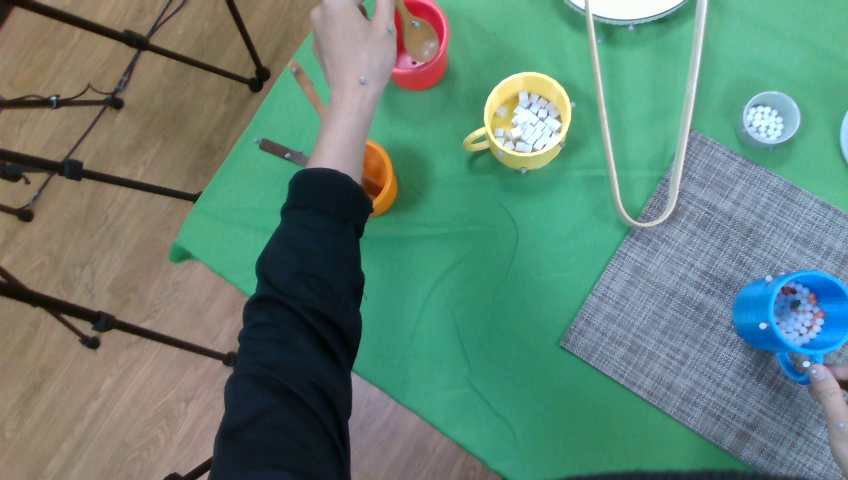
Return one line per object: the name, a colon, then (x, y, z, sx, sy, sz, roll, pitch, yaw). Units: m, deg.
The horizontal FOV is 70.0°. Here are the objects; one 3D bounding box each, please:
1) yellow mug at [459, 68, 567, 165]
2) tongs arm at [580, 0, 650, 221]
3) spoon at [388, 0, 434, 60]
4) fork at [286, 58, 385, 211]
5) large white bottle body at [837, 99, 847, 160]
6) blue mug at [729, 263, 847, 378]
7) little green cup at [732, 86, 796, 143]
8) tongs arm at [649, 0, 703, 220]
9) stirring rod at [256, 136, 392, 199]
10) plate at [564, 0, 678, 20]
yellow mug: (0.104, -0.140, 0.724, 0.131, 0.064, 0.099, -20, 81, 6)
tongs arm: (0.217, -0.211, 0.712, 0.051, 0.026, 0.384, -6, 90, 3)
spoon: (-0.032, -0.243, 0.614, 0.021, 0.195, 0.041, 41, 92, 24)
fork: (-0.102, -0.118, 0.706, 0.028, 0.018, 0.209, -30, 124, 0)
large white bottle body: (0.527, -0.137, 0.607, 0.130, 0.185, 0.130, -1, 83, 8)
blue mug: (0.385, 0.086, 0.637, 0.082, 0.106, 0.116, -9, 82, 7)
little green cup: (0.390, -0.142, 0.701, 0.061, 0.039, 0.061, -1, 84, 8)
tongs arm: (0.301, -0.213, 0.705, 0.028, 0.028, 0.387, 8, 91, 0)
stirring rod: (-0.112, -0.083, 0.710, 0.177, 0.006, 0.014, 20, 80, -32)
plate: (0.245, -0.366, 0.746, 0.207, 0.039, 0.207, -1, 84, 8)
